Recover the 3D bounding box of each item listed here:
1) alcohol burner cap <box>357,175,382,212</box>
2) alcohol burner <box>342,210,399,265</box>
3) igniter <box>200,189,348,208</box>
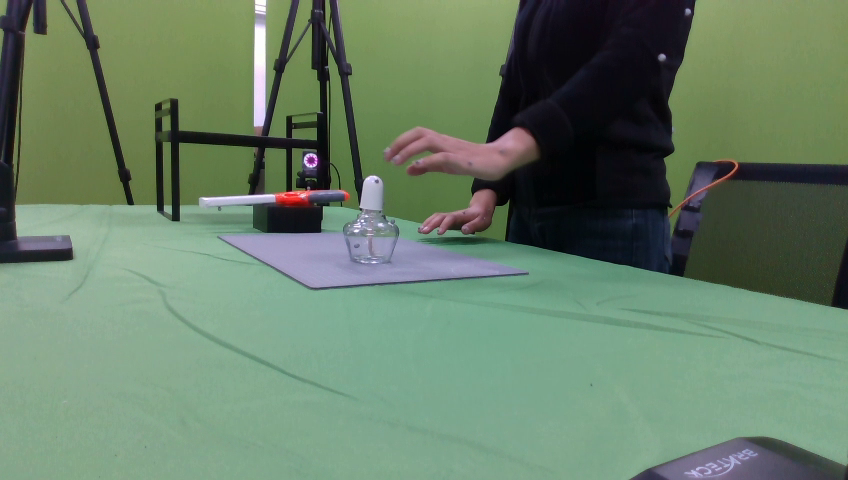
[{"bbox_3d":[-0.070,-0.063,0.814,0.034,0.048,0.034,9,9,-1],"label":"alcohol burner cap"},{"bbox_3d":[-0.073,-0.027,0.818,0.078,0.119,0.078,1,6,0],"label":"alcohol burner"},{"bbox_3d":[-0.275,-0.079,1.142,0.278,0.025,0.057,-6,11,-32],"label":"igniter"}]
